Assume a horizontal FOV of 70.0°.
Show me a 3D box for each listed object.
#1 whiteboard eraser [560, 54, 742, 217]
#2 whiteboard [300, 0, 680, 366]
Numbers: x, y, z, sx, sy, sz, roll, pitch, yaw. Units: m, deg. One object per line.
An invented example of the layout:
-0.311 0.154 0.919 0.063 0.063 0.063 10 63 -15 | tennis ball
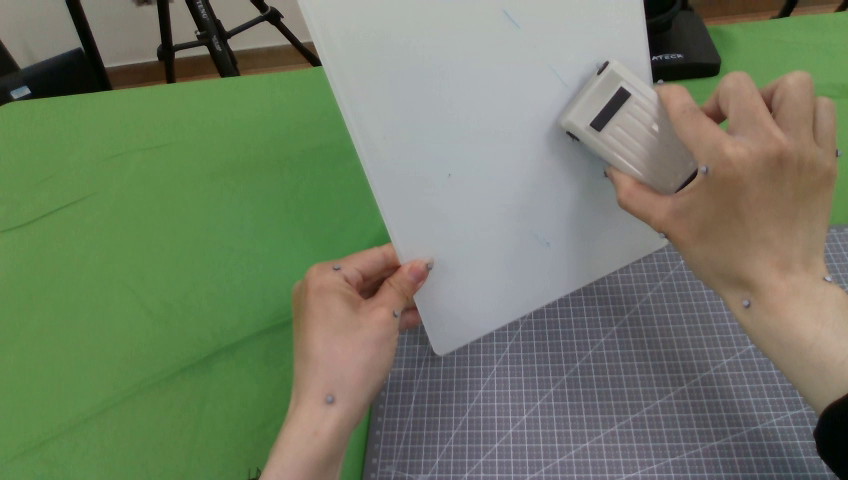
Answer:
0.150 -0.069 0.407 0.113 0.056 0.041 36 20 -5 | whiteboard eraser
0.044 -0.102 0.461 0.217 0.308 0.142 -24 28 -8 | whiteboard
